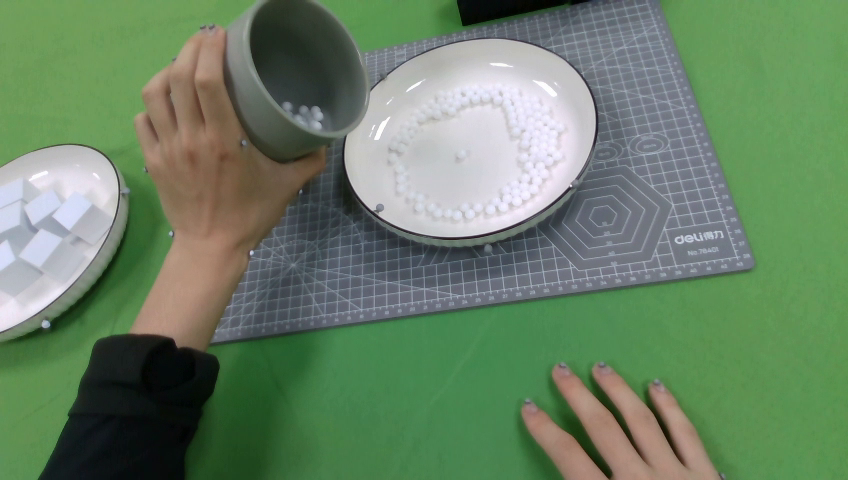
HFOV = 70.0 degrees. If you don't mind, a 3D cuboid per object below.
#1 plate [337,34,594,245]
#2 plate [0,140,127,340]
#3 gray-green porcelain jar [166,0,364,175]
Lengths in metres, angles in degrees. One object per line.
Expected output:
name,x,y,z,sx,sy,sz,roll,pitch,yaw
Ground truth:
plate,0.032,-0.083,0.498,0.209,0.038,0.207,-7,58,12
plate,-0.365,0.000,0.560,0.207,0.039,0.205,-7,59,11
gray-green porcelain jar,-0.126,-0.111,0.462,0.126,0.107,0.105,-15,52,42
